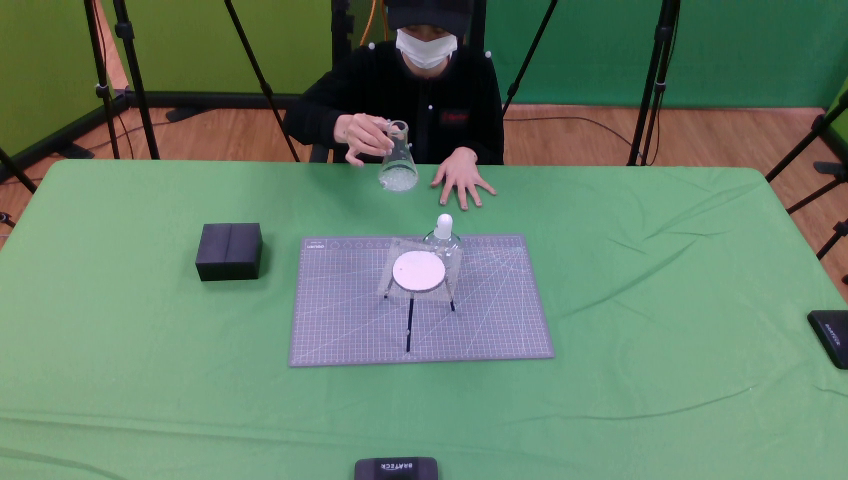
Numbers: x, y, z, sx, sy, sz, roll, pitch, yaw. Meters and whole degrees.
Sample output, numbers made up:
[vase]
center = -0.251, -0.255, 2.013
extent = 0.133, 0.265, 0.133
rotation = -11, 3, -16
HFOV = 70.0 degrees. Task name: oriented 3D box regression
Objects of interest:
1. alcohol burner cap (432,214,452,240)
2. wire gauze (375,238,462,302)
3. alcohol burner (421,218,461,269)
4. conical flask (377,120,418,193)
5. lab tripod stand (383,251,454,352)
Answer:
[alcohol burner cap]
center = 0.035, -0.027, 1.110
extent = 0.034, 0.048, 0.033
rotation = 7, 42, -6
[wire gauze]
center = -0.006, 0.048, 0.977
extent = 0.121, 0.011, 0.124
rotation = 9, 45, 5
[alcohol burner]
center = 0.033, -0.001, 1.135
extent = 0.078, 0.119, 0.077
rotation = 3, 47, -3
[conical flask]
center = -0.048, -0.150, 1.070
extent = 0.075, 0.122, 0.075
rotation = 1, 44, -1
[lab tripod stand]
center = -0.015, 0.094, 1.025
extent = 0.148, 0.132, 0.147
rotation = 1, 46, -1
